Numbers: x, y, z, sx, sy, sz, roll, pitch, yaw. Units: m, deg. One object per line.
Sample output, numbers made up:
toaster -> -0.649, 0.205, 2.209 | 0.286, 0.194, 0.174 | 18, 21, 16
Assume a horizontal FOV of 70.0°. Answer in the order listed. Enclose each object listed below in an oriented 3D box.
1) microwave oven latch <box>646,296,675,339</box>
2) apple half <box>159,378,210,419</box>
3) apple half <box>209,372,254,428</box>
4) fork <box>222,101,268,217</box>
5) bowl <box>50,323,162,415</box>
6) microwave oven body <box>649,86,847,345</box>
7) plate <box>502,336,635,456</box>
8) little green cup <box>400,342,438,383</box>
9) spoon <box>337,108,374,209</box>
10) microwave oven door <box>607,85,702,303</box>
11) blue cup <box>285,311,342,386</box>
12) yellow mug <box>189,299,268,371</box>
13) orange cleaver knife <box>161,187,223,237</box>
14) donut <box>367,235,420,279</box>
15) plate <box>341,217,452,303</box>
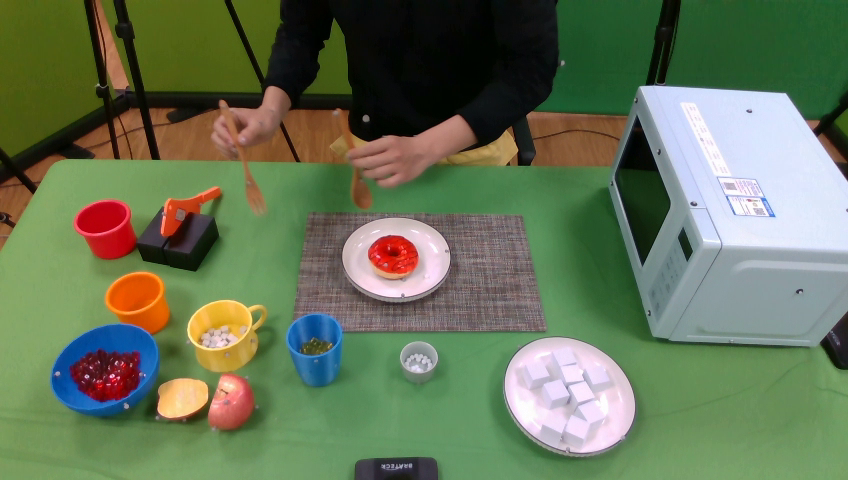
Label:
microwave oven latch -> 0.412, 0.134, 1.061 | 0.030, 0.029, 0.078 | 4, 45, 1
apple half -> -0.366, 0.247, 0.926 | 0.081, 0.033, 0.081 | 8, 31, -5
apple half -> -0.282, 0.243, 0.908 | 0.053, 0.075, 0.080 | 8, 42, -3
fork -> -0.310, -0.137, 1.047 | 0.028, 0.208, 0.018 | -25, 30, -27
bowl -> -0.472, 0.209, 0.924 | 0.151, 0.077, 0.150 | 3, 45, -2
microwave oven body -> 0.568, -0.053, 1.118 | 0.326, 0.261, 0.439 | 2, 45, -1
plate -> 0.225, 0.248, 0.963 | 0.208, 0.039, 0.206 | 2, 46, -2
little green cup -> -0.010, 0.202, 0.991 | 0.061, 0.039, 0.061 | 2, 47, -2
spoon -> -0.113, -0.132, 1.005 | 0.021, 0.195, 0.041 | 24, 51, 31
microwave oven door -> 0.423, -0.094, 1.140 | 0.039, 0.245, 0.353 | 2, 46, -1
blue cup -> -0.170, 0.180, 0.958 | 0.093, 0.101, 0.092 | 2, 44, -2
yellow mug -> -0.316, 0.148, 1.002 | 0.131, 0.064, 0.099 | -32, 56, -31
orange cleaver knife -> -0.448, -0.058, 1.181 | 0.012, 0.077, 0.211 | 13, 17, 6
donut -> -0.056, 0.032, 1.131 | 0.099, 0.048, 0.098 | 3, 45, -3
plate -> -0.052, 0.039, 1.140 | 0.209, 0.038, 0.208 | 2, 46, -2
